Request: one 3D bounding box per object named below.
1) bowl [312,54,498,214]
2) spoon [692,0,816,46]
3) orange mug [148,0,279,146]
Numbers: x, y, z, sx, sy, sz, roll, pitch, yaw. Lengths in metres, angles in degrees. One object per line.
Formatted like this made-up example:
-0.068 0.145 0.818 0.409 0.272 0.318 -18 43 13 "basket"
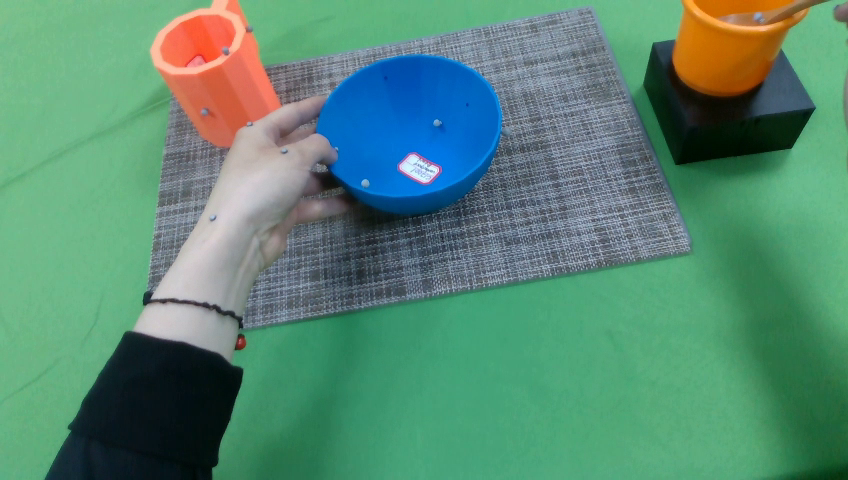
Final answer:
-0.012 -0.075 0.513 0.151 0.077 0.150 -3 59 5 "bowl"
0.265 -0.163 0.410 0.022 0.192 0.041 42 78 -20 "spoon"
-0.193 -0.168 0.581 0.083 0.101 0.125 1 64 9 "orange mug"
